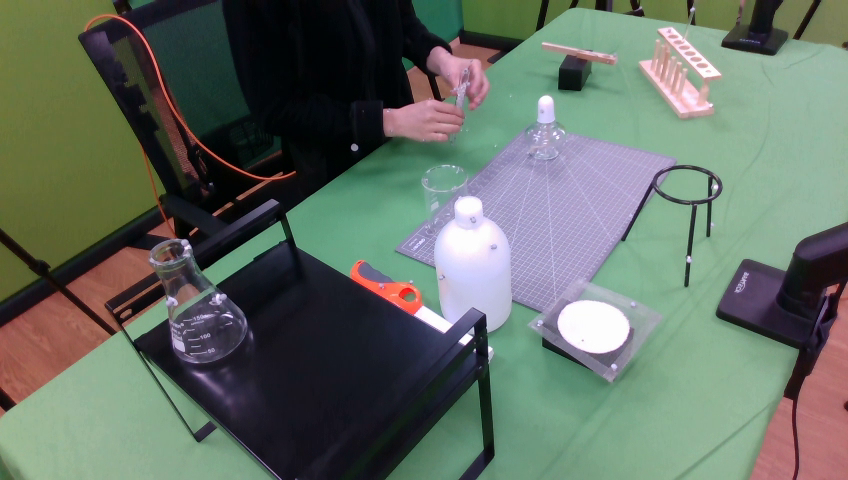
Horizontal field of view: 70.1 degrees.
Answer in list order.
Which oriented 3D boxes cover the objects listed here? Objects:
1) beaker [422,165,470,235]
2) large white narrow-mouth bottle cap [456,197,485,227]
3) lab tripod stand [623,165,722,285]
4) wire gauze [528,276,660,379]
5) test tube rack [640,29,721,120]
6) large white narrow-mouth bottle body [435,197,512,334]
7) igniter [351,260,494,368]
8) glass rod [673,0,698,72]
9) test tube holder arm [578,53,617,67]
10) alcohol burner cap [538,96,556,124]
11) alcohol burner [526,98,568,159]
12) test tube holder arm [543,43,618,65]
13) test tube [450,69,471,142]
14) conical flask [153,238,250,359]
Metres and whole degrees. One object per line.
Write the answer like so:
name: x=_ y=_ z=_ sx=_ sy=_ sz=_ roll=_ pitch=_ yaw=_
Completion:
beaker: x=0.041 y=-0.063 z=0.986 sx=0.073 sy=0.101 sz=0.084 roll=20 pitch=47 yaw=29
large white narrow-mouth bottle cap: x=0.058 y=-0.036 z=0.750 sx=0.038 sy=0.024 sz=0.037 roll=-4 pitch=40 yaw=4
lab tripod stand: x=0.365 y=-0.030 z=0.875 sx=0.148 sy=0.132 sz=0.147 roll=-6 pitch=41 yaw=6
wire gauze: x=0.214 y=0.103 z=0.763 sx=0.124 sy=0.011 sz=0.122 roll=30 pitch=52 yaw=35
test tube rack: x=0.527 y=-0.351 z=1.262 sx=0.067 sy=0.085 sz=0.241 roll=-8 pitch=40 yaw=2
large white narrow-mouth bottle body: x=0.066 y=0.028 z=0.805 sx=0.102 sy=0.195 sz=0.101 roll=-4 pitch=40 yaw=4
igniter: x=-0.013 y=0.098 z=0.864 sx=0.274 sy=0.025 sz=0.057 roll=30 pitch=65 yaw=36
glass rod: x=0.537 y=-0.425 z=1.245 sx=0.008 sy=0.200 sz=0.008 roll=0 pitch=47 yaw=0
test tube holder arm: x=0.376 y=-0.393 z=1.314 sx=0.087 sy=0.015 sz=0.010 roll=26 pitch=51 yaw=32
alcohol burner cap: x=0.222 y=-0.237 z=1.095 sx=0.034 sy=0.048 sz=0.033 roll=-7 pitch=35 yaw=5
alcohol burner: x=0.228 y=-0.210 z=1.118 sx=0.078 sy=0.119 sz=0.077 roll=-5 pitch=43 yaw=5
test tube holder arm: x=0.345 y=-0.413 z=1.340 sx=0.177 sy=0.015 sz=0.013 roll=25 pitch=51 yaw=31
test tube: x=0.066 y=-0.243 z=1.109 sx=0.017 sy=0.150 sz=0.017 roll=5 pitch=44 yaw=-4
conical flask: x=-0.225 y=0.055 z=0.597 sx=0.075 sy=0.122 sz=0.075 roll=-5 pitch=41 yaw=4
